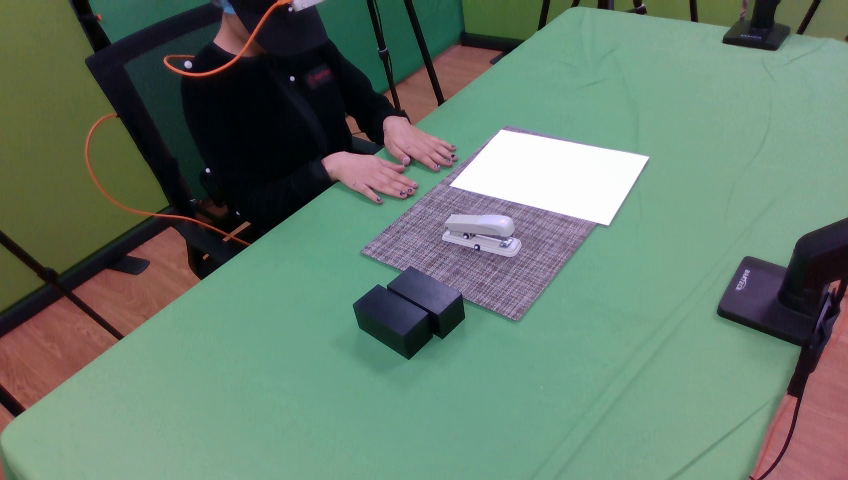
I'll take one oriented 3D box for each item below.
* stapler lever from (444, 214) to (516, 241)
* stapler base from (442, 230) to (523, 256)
[{"bbox_3d":[0.088,-0.026,0.952,0.117,0.040,0.027,13,42,27],"label":"stapler lever"},{"bbox_3d":[0.093,-0.007,0.967,0.129,0.024,0.041,13,42,27],"label":"stapler base"}]
